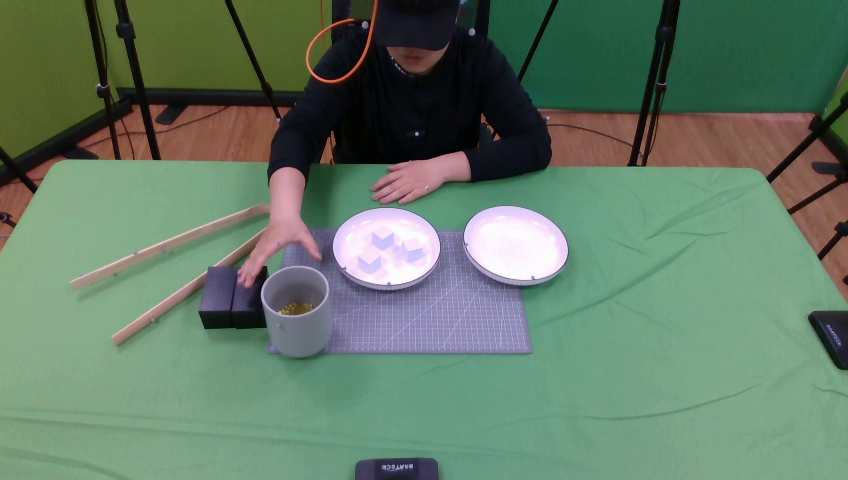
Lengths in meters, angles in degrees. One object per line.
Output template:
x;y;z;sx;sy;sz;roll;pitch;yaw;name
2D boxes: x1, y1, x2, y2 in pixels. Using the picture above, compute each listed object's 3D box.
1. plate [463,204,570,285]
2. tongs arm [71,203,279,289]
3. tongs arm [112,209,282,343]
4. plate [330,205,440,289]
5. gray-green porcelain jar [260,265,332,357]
0.178;0.012;1.184;0.209;0.038;0.208;3;46;-3;plate
-0.454;0.011;1.145;0.385;0.026;0.050;-29;55;-29;tongs arm
-0.397;0.057;1.109;0.028;0.028;0.387;28;50;25;tongs arm
-0.074;0.017;1.161;0.208;0.039;0.206;2;47;-2;plate
-0.205;0.121;0.989;0.106;0.127;0.105;2;46;-2;gray-green porcelain jar
